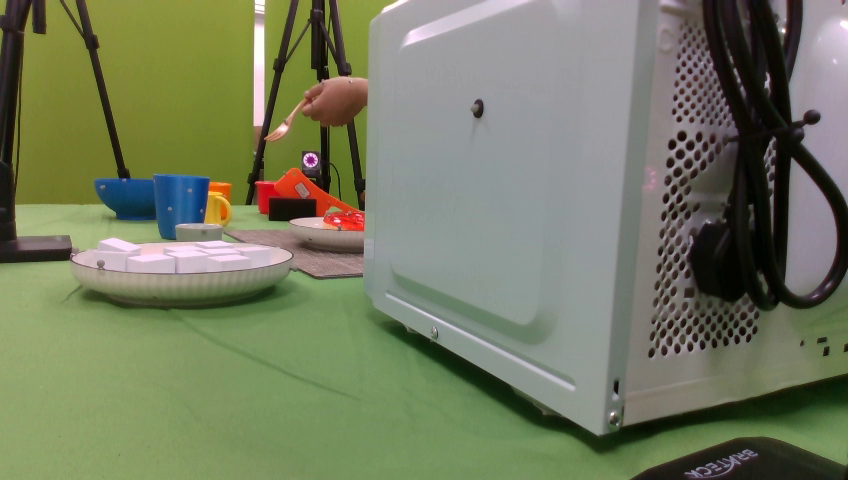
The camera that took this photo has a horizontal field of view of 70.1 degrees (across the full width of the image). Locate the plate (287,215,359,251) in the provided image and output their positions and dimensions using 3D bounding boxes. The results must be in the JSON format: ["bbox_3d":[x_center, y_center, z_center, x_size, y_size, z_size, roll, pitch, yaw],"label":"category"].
[{"bbox_3d":[-0.112,-0.012,0.960,0.209,0.038,0.209,3,8,0],"label":"plate"}]

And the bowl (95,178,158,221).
[{"bbox_3d":[-0.576,-0.081,1.217,0.151,0.077,0.151,3,8,0],"label":"bowl"}]

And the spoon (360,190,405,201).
[{"bbox_3d":[-0.079,-0.093,1.258,0.041,0.021,0.194,-19,-2,21],"label":"spoon"}]

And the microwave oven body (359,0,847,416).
[{"bbox_3d":[0.211,-0.047,0.474,0.444,0.260,0.324,-1,7,-28],"label":"microwave oven body"}]

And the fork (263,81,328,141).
[{"bbox_3d":[-0.253,-0.262,1.217,0.028,0.019,0.207,14,55,28],"label":"fork"}]

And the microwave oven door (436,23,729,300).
[{"bbox_3d":[0.181,-0.072,0.621,0.358,0.243,0.039,-2,9,-29],"label":"microwave oven door"}]

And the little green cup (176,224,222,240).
[{"bbox_3d":[-0.312,-0.001,0.842,0.061,0.038,0.061,2,8,0],"label":"little green cup"}]

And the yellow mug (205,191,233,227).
[{"bbox_3d":[-0.415,-0.057,1.132,0.130,0.064,0.100,6,8,16],"label":"yellow mug"}]

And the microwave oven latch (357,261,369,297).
[{"bbox_3d":[-0.019,0.033,0.530,0.079,0.029,0.030,-1,7,-26],"label":"microwave oven latch"}]

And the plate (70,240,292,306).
[{"bbox_3d":[-0.242,0.032,0.618,0.208,0.039,0.207,2,8,0],"label":"plate"}]

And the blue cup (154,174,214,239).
[{"bbox_3d":[-0.390,-0.053,0.978,0.093,0.100,0.092,3,6,0],"label":"blue cup"}]

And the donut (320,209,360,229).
[{"bbox_3d":[-0.115,-0.023,0.962,0.099,0.048,0.099,5,8,0],"label":"donut"}]

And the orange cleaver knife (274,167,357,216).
[{"bbox_3d":[-0.238,-0.090,1.381,0.212,0.077,0.012,31,0,-19],"label":"orange cleaver knife"}]
